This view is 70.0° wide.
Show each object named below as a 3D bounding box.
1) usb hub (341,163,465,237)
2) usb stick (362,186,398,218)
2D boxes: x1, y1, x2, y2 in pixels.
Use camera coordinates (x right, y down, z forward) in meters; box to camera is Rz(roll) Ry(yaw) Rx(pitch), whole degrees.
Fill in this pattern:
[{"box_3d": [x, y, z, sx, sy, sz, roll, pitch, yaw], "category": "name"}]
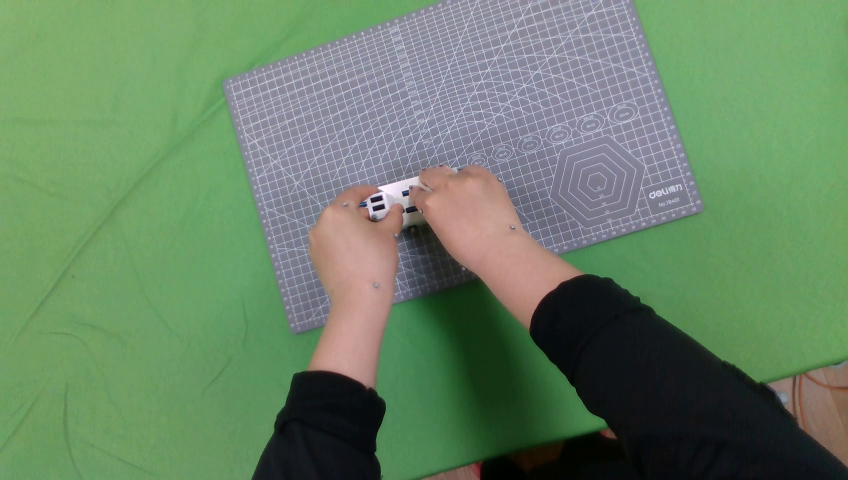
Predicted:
[{"box_3d": [-0.023, -0.042, 0.639, 0.125, 0.025, 0.049, -14, 84, 7], "category": "usb hub"}, {"box_3d": [-0.042, -0.037, 0.611, 0.021, 0.059, 0.027, -19, 83, 9], "category": "usb stick"}]
